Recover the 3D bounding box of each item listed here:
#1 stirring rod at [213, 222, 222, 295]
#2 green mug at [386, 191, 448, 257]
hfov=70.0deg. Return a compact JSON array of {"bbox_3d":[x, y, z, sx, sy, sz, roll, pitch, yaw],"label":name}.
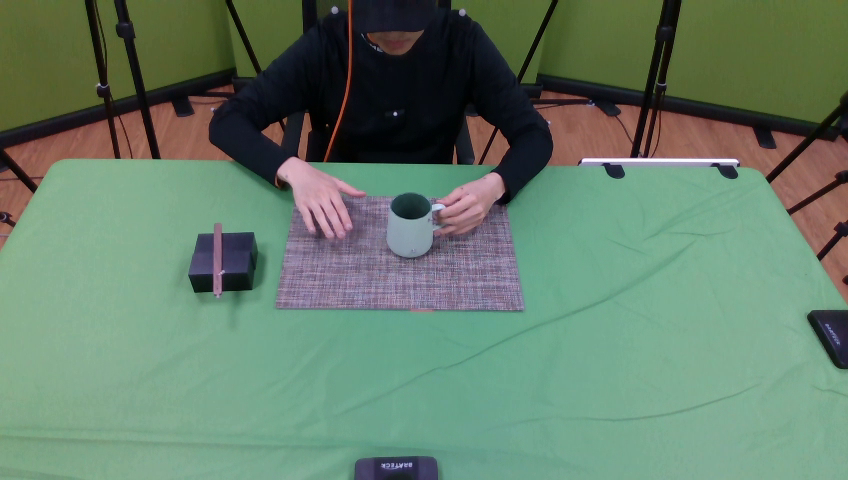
[{"bbox_3d":[-0.369,0.029,1.082,0.014,0.006,0.175,-8,48,-11],"label":"stirring rod"},{"bbox_3d":[-0.012,-0.034,1.165,0.125,0.105,0.092,-17,49,-19],"label":"green mug"}]
